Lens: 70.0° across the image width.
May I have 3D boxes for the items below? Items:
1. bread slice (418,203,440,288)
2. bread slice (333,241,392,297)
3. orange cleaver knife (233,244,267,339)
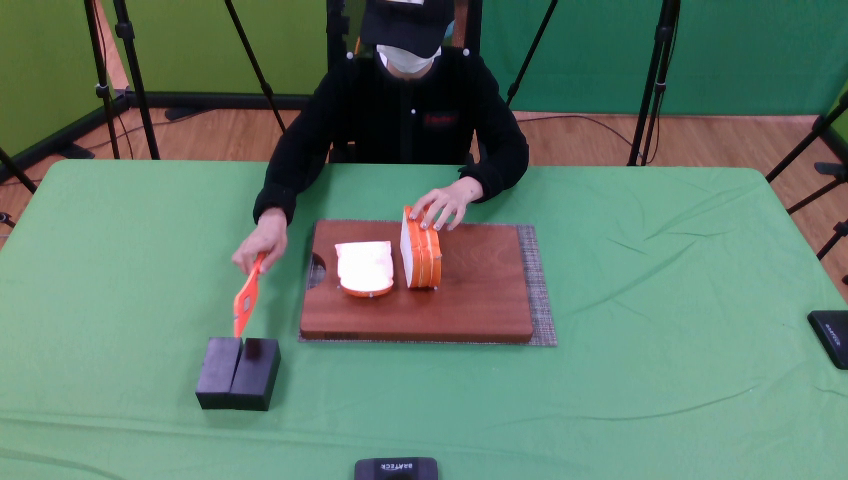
[{"bbox_3d":[0.009,0.019,1.089,0.018,0.107,0.133,-5,54,-8],"label":"bread slice"},{"bbox_3d":[-0.110,0.052,1.096,0.105,0.019,0.130,-2,43,-8],"label":"bread slice"},{"bbox_3d":[-0.289,0.080,1.013,0.012,0.077,0.210,4,30,-3],"label":"orange cleaver knife"}]
